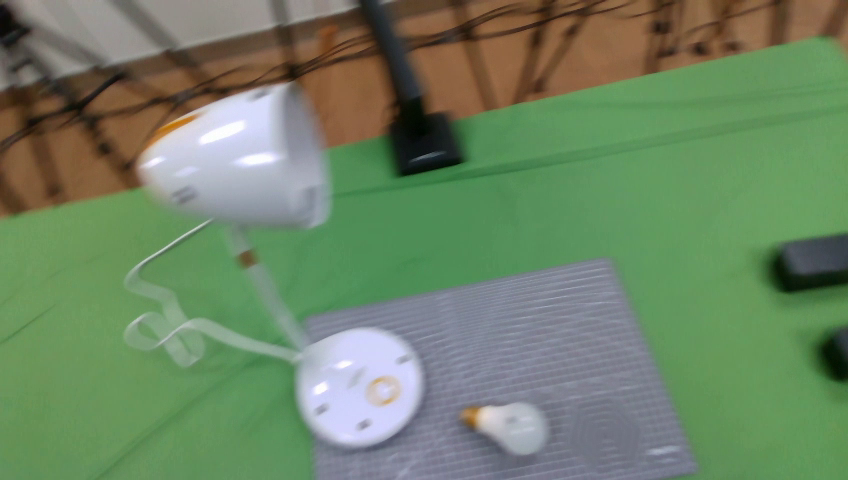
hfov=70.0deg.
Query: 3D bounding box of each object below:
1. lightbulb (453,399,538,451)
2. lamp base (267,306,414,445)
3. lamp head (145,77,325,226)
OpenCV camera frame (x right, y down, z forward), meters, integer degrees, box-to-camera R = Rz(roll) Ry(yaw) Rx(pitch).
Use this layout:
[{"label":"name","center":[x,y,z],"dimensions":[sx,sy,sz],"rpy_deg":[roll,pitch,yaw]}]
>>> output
[{"label":"lightbulb","center":[0.085,0.219,0.733],"dimensions":[0.107,0.060,0.059],"rpy_deg":[4,57,29]},{"label":"lamp base","center":[-0.113,0.143,0.728],"dimensions":[0.178,0.182,0.159],"rpy_deg":[10,59,17]},{"label":"lamp head","center":[-0.145,-0.059,0.471],"dimensions":[0.123,0.113,0.111],"rpy_deg":[-10,57,9]}]
